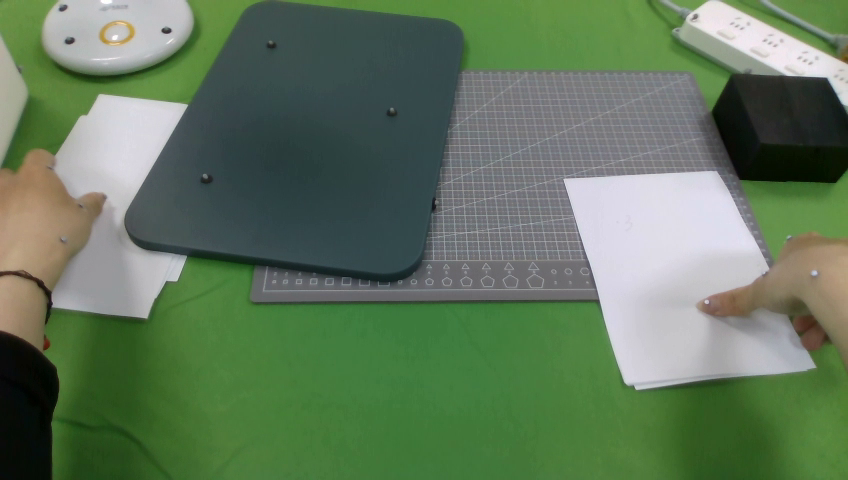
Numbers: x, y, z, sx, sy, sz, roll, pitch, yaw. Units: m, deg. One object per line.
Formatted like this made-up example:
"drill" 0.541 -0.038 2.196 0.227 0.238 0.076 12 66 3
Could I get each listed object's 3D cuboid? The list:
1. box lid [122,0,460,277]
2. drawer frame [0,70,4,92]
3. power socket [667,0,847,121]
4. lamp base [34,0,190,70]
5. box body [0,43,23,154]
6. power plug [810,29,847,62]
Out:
"box lid" -0.111 -0.126 0.612 0.263 0.015 0.368 7 54 3
"drawer frame" -0.489 -0.107 0.481 0.202 0.083 0.211 4 44 -16
"power socket" 0.388 -0.209 0.685 0.072 0.033 0.225 -37 63 -26
"lamp base" -0.349 -0.298 0.620 0.161 0.182 0.177 -21 55 -17
"box body" -0.499 -0.060 0.451 0.254 0.162 0.360 -4 54 -6
"power plug" 0.483 -0.228 0.713 0.053 0.035 0.072 -28 26 -27
